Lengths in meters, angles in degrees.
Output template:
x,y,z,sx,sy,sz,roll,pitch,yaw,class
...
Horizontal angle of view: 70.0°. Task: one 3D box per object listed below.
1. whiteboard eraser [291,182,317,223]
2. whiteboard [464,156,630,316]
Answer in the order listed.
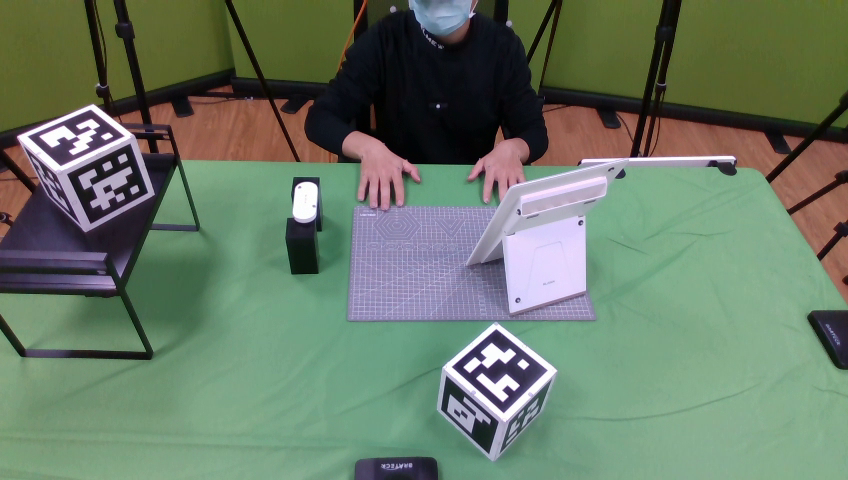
x,y,z,sx,sy,sz,roll,pitch,yaw,class
-0.219,-0.070,1.111,0.041,0.019,0.100,-2,45,-3,whiteboard eraser
0.224,0.014,1.041,0.217,0.306,0.143,-14,68,-17,whiteboard
